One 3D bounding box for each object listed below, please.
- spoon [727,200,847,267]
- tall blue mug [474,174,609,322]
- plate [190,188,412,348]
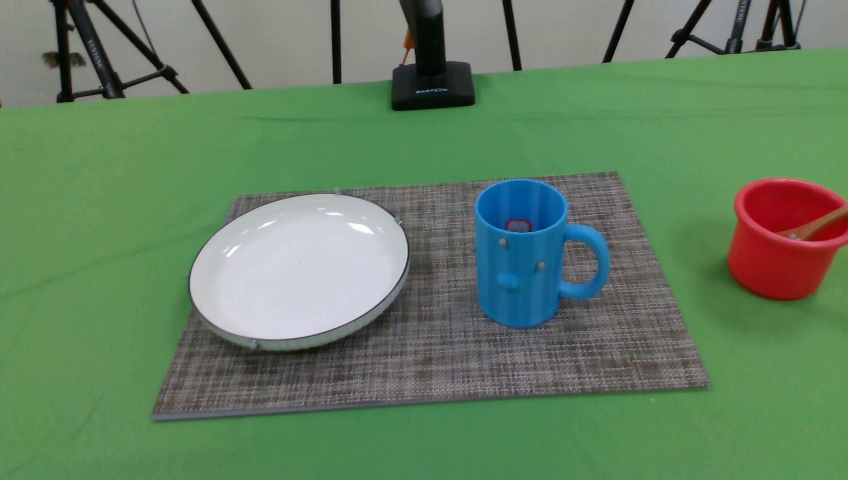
[{"bbox_3d":[0.356,-0.024,0.515,0.194,0.022,0.041,-35,27,38],"label":"spoon"},{"bbox_3d":[0.098,0.007,0.528,0.107,0.109,0.077,-8,40,-3],"label":"tall blue mug"},{"bbox_3d":[-0.114,0.026,0.583,0.207,0.039,0.205,-3,41,3],"label":"plate"}]
